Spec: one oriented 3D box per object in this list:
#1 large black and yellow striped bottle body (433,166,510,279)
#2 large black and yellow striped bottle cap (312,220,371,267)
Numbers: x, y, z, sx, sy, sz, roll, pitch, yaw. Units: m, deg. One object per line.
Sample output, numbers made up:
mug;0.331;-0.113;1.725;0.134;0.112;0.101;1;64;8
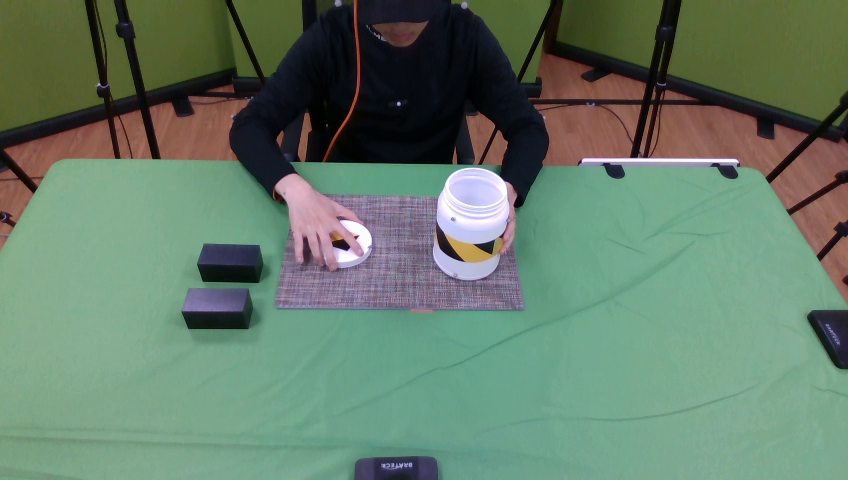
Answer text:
large black and yellow striped bottle body;0.086;-0.032;1.115;0.131;0.185;0.130;2;46;-2
large black and yellow striped bottle cap;-0.160;0.005;1.178;0.115;0.019;0.114;2;46;-2
